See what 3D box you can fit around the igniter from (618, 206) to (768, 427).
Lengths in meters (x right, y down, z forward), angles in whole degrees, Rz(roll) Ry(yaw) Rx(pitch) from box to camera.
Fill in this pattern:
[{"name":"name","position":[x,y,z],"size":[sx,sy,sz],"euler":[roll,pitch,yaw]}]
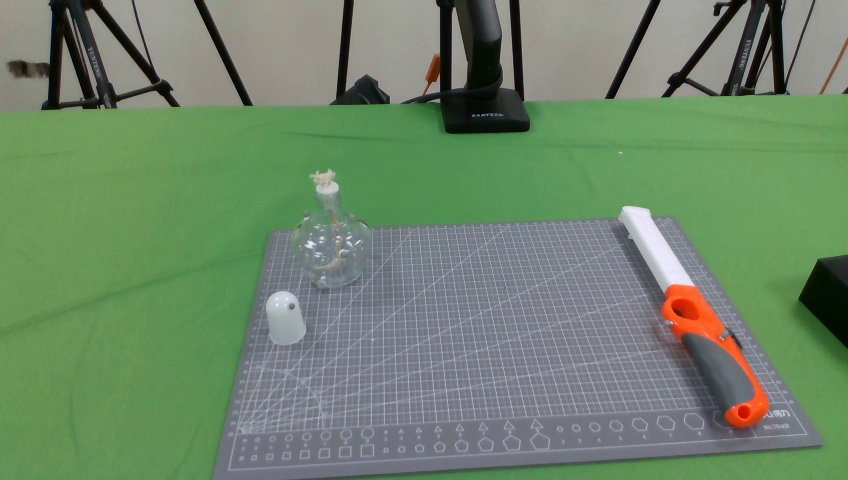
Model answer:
[{"name":"igniter","position":[0.237,0.054,0.556],"size":[0.057,0.025,0.273],"euler":[6,37,-10]}]

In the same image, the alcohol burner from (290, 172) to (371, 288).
[{"name":"alcohol burner","position":[-0.088,-0.013,0.569],"size":[0.078,0.120,0.077],"euler":[2,39,-1]}]

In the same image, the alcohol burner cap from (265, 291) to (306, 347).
[{"name":"alcohol burner cap","position":[-0.121,0.065,0.525],"size":[0.034,0.048,0.033],"euler":[1,38,0]}]
